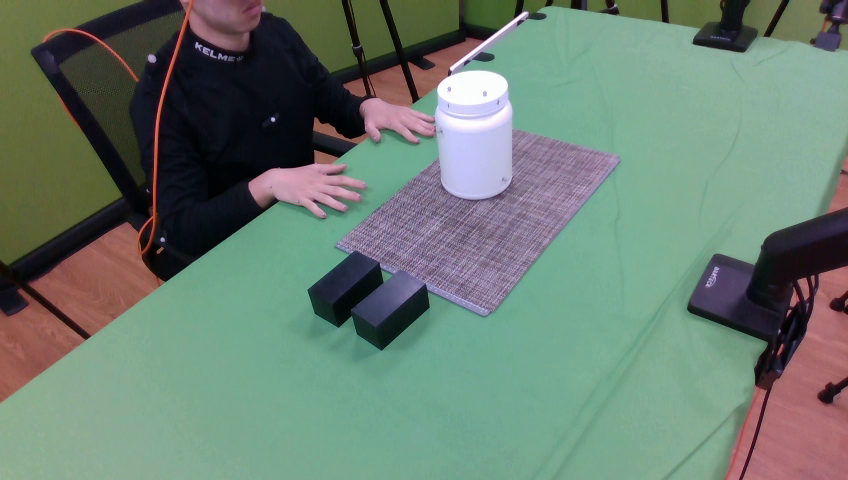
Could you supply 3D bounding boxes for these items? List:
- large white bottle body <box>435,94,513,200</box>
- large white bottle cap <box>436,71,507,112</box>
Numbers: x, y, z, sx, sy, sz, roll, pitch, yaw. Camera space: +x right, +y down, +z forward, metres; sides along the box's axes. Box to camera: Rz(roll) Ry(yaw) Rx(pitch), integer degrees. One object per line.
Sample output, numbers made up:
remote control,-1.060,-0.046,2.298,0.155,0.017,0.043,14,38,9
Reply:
large white bottle body,0.086,-0.176,1.030,0.130,0.185,0.130,-4,41,4
large white bottle cap,0.077,-0.241,0.976,0.115,0.018,0.114,-4,41,4
